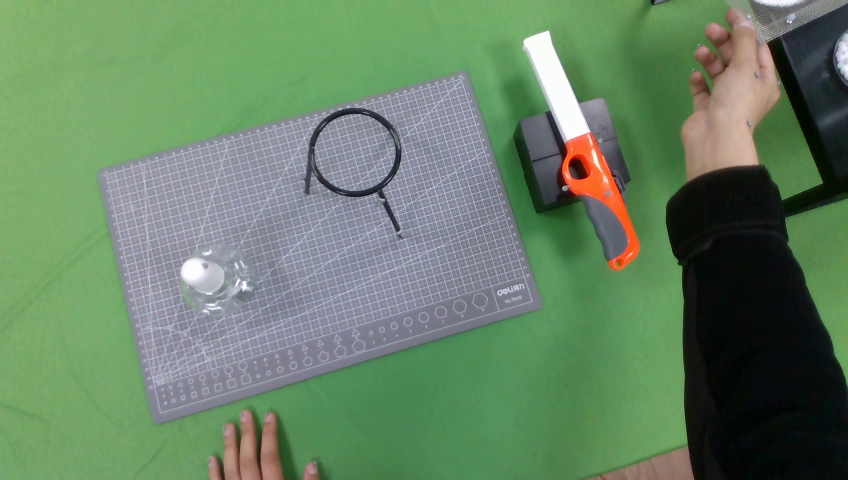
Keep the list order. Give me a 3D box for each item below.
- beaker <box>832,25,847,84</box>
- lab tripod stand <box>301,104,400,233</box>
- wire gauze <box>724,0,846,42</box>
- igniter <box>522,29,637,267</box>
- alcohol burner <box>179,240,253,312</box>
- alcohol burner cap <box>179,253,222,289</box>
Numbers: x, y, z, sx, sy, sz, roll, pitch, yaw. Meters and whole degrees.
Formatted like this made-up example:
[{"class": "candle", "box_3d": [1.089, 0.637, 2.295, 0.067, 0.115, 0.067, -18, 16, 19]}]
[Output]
[{"class": "beaker", "box_3d": [0.404, -0.176, 0.507, 0.084, 0.100, 0.074, 40, 82, 6]}, {"class": "lab tripod stand", "box_3d": [-0.069, -0.081, 0.643, 0.148, 0.132, 0.148, 0, 79, 0]}, {"class": "wire gauze", "box_3d": [0.325, -0.255, 0.562, 0.125, 0.011, 0.121, -28, 80, -6]}, {"class": "igniter", "box_3d": [0.169, -0.103, 0.661, 0.057, 0.025, 0.275, -19, 80, -2]}, {"class": "alcohol burner", "box_3d": [-0.222, 0.036, 0.633, 0.078, 0.119, 0.077, 0, 83, -2]}, {"class": "alcohol burner cap", "box_3d": [-0.222, 0.029, 0.597, 0.034, 0.048, 0.033, 0, 74, 0]}]
